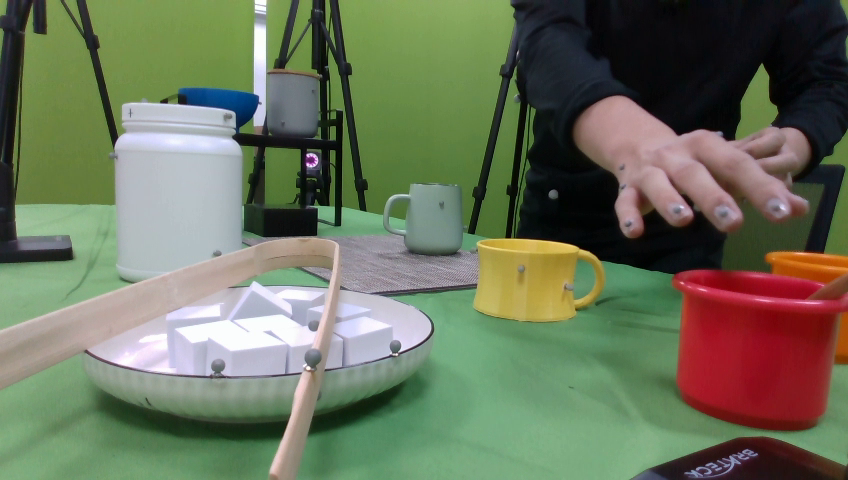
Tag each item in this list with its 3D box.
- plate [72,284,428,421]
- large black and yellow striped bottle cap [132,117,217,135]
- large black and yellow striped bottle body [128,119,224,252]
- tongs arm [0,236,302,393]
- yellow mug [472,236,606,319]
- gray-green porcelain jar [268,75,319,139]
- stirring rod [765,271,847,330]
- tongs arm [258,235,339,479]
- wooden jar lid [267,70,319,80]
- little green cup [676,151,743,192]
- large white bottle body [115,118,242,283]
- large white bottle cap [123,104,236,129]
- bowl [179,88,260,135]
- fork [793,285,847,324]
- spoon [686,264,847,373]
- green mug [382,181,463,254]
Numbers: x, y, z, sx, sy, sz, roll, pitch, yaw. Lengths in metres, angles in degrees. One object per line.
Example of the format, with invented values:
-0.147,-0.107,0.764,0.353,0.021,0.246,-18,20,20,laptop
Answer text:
-0.102,0.067,0.381,0.208,0.039,0.207,2,7,0,plate
-0.359,-0.164,0.875,0.115,0.019,0.115,2,6,0,large black and yellow striped bottle cap
-0.361,-0.081,0.887,0.131,0.184,0.130,2,8,0,large black and yellow striped bottle body
-0.157,0.038,0.347,0.028,0.028,0.388,-3,8,11,tongs arm
0.114,0.034,0.590,0.131,0.064,0.100,2,7,-7,yellow mug
-0.277,-0.278,1.280,0.106,0.126,0.106,2,8,0,gray-green porcelain jar
0.352,0.020,0.481,0.176,0.006,0.014,-40,-8,17,stirring rod
-0.074,0.040,0.345,0.051,0.026,0.384,-2,10,-3,tongs arm
-0.275,-0.339,1.271,0.108,0.020,0.108,5,6,0,wooden jar lid
0.281,-0.067,0.600,0.061,0.038,0.061,2,4,0,little green cup
-0.270,-0.051,0.673,0.131,0.184,0.130,2,8,0,large white bottle body
-0.266,-0.135,0.663,0.115,0.018,0.115,3,7,0,large white bottle cap
-0.400,-0.248,1.188,0.151,0.077,0.151,2,6,0,bowl
0.332,0.018,0.443,0.028,0.018,0.207,-3,-35,-16,fork
0.214,0.032,0.327,0.042,0.021,0.193,-3,-35,-26,spoon
-0.001,-0.036,0.922,0.126,0.105,0.092,0,8,-16,green mug
